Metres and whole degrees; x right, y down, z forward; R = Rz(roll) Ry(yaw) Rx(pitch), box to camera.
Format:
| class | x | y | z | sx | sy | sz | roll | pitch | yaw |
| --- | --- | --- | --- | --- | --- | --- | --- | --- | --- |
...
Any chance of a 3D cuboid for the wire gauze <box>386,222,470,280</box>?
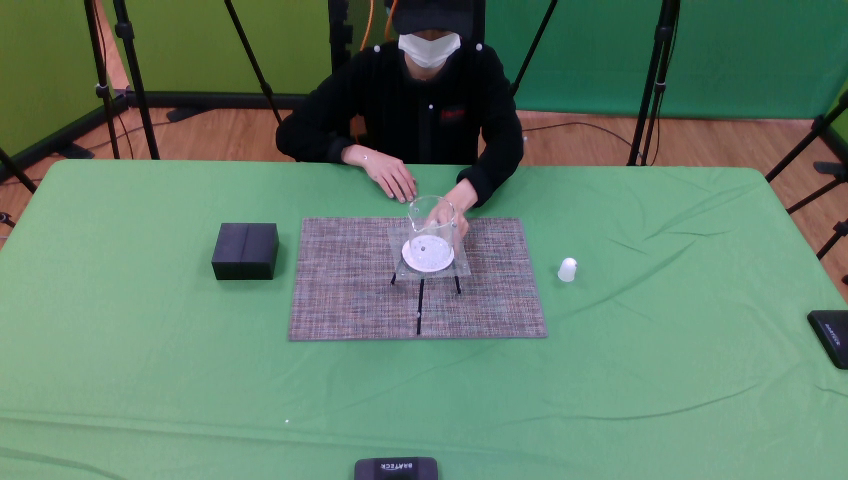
| class | x | y | z | sx | sy | sz | roll | pitch | yaw |
| --- | --- | --- | --- | --- | --- | --- | --- | --- | --- |
| wire gauze | 0.005 | 0.018 | 1.006 | 0.125 | 0.011 | 0.120 | -7 | 45 | -5 |

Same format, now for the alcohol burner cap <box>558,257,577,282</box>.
| class | x | y | z | sx | sy | sz | roll | pitch | yaw |
| --- | --- | --- | --- | --- | --- | --- | --- | --- | --- |
| alcohol burner cap | 0.276 | 0.053 | 1.153 | 0.034 | 0.048 | 0.033 | 2 | 46 | -2 |

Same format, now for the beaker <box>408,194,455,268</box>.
| class | x | y | z | sx | sy | sz | roll | pitch | yaw |
| --- | --- | --- | --- | --- | --- | --- | --- | --- | --- |
| beaker | 0.009 | -0.010 | 0.965 | 0.074 | 0.101 | 0.084 | 23 | 50 | 20 |

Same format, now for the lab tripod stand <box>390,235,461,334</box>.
| class | x | y | z | sx | sy | sz | roll | pitch | yaw |
| --- | --- | --- | --- | --- | --- | --- | --- | --- | --- |
| lab tripod stand | -0.001 | 0.067 | 1.050 | 0.148 | 0.132 | 0.147 | 1 | 47 | -1 |

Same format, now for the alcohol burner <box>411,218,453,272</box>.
| class | x | y | z | sx | sy | sz | roll | pitch | yaw |
| --- | --- | --- | --- | --- | --- | --- | --- | --- | --- |
| alcohol burner | 0.014 | 0.006 | 1.104 | 0.078 | 0.120 | 0.077 | -1 | 47 | 2 |
